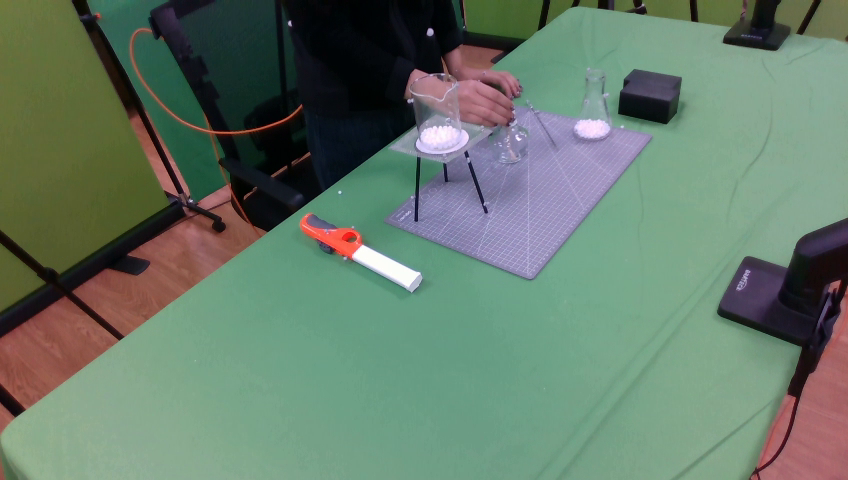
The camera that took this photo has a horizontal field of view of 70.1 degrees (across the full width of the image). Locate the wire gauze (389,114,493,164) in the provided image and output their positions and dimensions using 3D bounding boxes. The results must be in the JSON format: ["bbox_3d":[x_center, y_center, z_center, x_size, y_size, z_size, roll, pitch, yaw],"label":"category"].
[{"bbox_3d":[0.027,-0.163,0.978,0.120,0.011,0.125,22,50,36],"label":"wire gauze"}]

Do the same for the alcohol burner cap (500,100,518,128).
[{"bbox_3d":[0.153,-0.231,1.096,0.034,0.048,0.033,-7,42,7],"label":"alcohol burner cap"}]

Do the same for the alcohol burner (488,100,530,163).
[{"bbox_3d":[0.157,-0.204,1.119,0.078,0.119,0.077,-5,38,5],"label":"alcohol burner"}]

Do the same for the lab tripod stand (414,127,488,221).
[{"bbox_3d":[0.035,-0.114,1.021,0.148,0.132,0.147,-7,39,6],"label":"lab tripod stand"}]

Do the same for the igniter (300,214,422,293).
[{"bbox_3d":[-0.113,0.016,0.983,0.274,0.025,0.057,26,62,35],"label":"igniter"}]

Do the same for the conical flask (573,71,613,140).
[{"bbox_3d":[0.321,-0.256,1.142,0.075,0.122,0.075,-5,40,5],"label":"conical flask"}]

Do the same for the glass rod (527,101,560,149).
[{"bbox_3d":[0.240,-0.237,1.223,0.008,0.008,0.198,-12,40,-2],"label":"glass rod"}]

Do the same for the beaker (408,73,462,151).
[{"bbox_3d":[0.021,-0.196,0.943,0.074,0.101,0.083,-17,40,-7],"label":"beaker"}]
